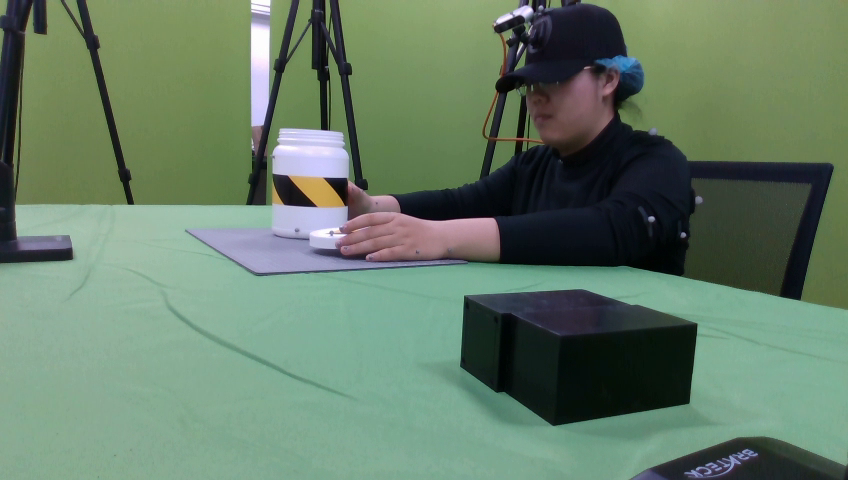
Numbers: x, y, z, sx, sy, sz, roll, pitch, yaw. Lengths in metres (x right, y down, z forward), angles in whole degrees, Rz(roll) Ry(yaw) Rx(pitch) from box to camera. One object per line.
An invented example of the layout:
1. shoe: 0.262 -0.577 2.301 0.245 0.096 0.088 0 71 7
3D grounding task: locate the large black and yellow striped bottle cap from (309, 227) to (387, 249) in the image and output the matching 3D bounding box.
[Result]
1. large black and yellow striped bottle cap: -0.112 -0.004 0.889 0.115 0.019 0.115 -1 8 0

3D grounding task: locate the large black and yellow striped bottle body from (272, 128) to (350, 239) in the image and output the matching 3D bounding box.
1. large black and yellow striped bottle body: -0.197 -0.099 1.054 0.131 0.184 0.130 3 8 0
